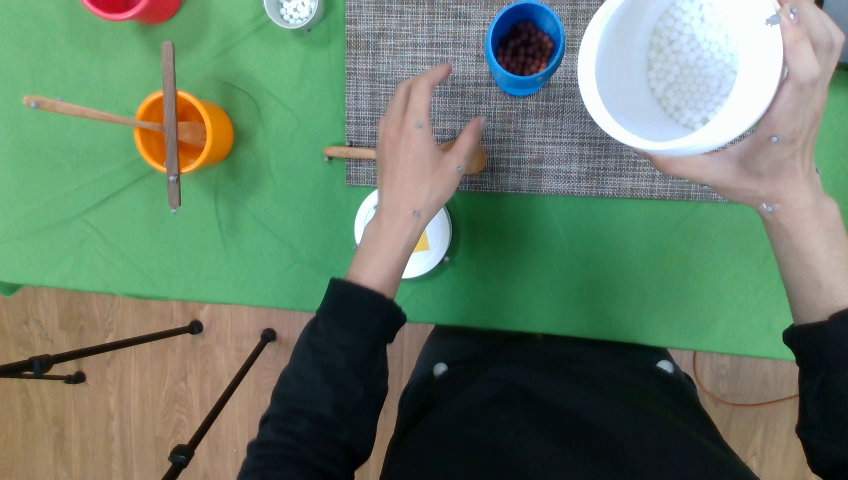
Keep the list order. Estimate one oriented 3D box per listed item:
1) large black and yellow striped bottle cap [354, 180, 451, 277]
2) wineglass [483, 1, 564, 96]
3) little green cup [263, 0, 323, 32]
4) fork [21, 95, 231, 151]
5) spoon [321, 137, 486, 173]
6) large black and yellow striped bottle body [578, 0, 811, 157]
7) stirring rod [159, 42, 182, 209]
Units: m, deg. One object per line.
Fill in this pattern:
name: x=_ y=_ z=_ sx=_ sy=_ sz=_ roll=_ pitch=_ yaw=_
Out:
large black and yellow striped bottle cap: x=-0.026 y=-0.013 z=0.712 sx=0.115 sy=0.018 sz=0.115 roll=1 pitch=104 yaw=6
wineglass: x=0.094 y=-0.178 z=0.584 sx=0.073 sy=0.172 sz=0.074 roll=1 pitch=99 yaw=7
little green cup: x=-0.143 y=-0.261 z=0.671 sx=0.061 sy=0.038 sz=0.062 roll=1 pitch=101 yaw=8
fork: x=-0.315 y=-0.127 z=0.661 sx=0.209 sy=0.018 sz=0.028 roll=7 pitch=111 yaw=-38
spoon: x=-0.025 y=-0.099 z=0.690 sx=0.193 sy=0.021 sz=0.042 roll=2 pitch=121 yaw=7
large black and yellow striped bottle body: x=0.203 y=-0.135 z=0.453 sx=0.130 sy=0.184 sz=0.131 roll=15 pitch=115 yaw=35
stirring rod: x=-0.273 y=-0.121 z=0.653 sx=0.014 sy=0.006 sz=0.176 roll=2 pitch=101 yaw=8
